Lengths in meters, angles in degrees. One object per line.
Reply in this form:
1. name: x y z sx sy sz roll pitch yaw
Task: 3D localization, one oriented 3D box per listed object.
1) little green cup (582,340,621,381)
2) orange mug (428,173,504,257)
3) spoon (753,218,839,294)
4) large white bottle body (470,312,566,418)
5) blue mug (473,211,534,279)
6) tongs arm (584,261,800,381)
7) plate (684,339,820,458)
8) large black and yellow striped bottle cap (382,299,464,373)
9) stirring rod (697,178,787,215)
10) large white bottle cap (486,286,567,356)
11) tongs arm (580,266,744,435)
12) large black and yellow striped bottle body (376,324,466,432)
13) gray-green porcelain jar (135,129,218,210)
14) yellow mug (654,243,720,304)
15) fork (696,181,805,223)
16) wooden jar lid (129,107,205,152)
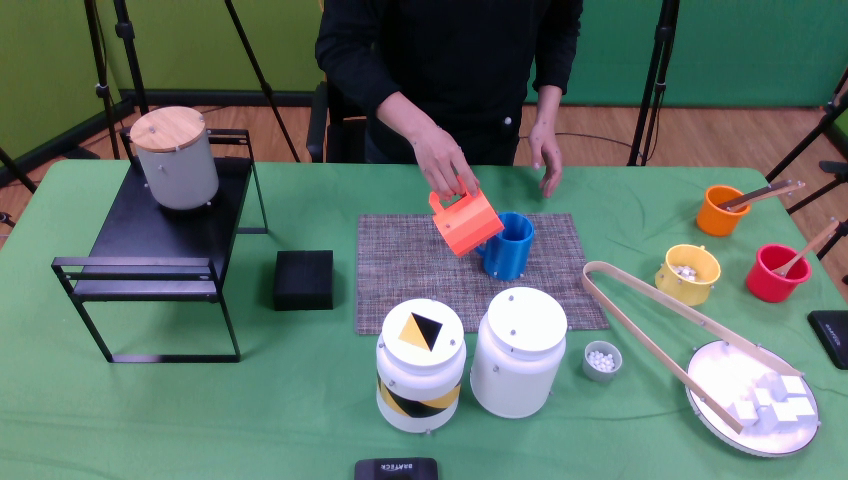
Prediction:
1. little green cup: 0.295 0.204 1.015 0.061 0.039 0.061 2 45 -2
2. orange mug: 0.067 -0.048 1.040 0.101 0.126 0.083 -28 12 7
3. spoon: 0.700 0.031 1.138 0.194 0.022 0.041 -47 54 14
4. large white bottle body: 0.143 0.173 0.930 0.131 0.185 0.130 2 46 -2
5. blue mug: 0.141 0.005 1.140 0.116 0.106 0.082 18 48 13
6. tongs arm: 0.452 0.137 1.064 0.051 0.027 0.382 -34 50 -27
7. plate: 0.523 0.256 0.982 0.208 0.039 0.206 2 46 -2
8. large black and yellow striped bottle cap: -0.002 0.132 0.843 0.115 0.019 0.114 2 46 -1
9. stirring rod: 0.650 -0.088 1.246 0.006 0.176 0.014 29 50 -39
10. large white bottle cap: 0.147 0.114 0.869 0.115 0.018 0.114 3 46 -3
11. tongs arm: 0.384 0.173 1.028 0.028 0.028 0.385 -25 46 -15
12. large black and yellow striped bottle body: -0.007 0.189 0.905 0.131 0.185 0.130 2 46 -2
13. gray-green porcelain jar: -0.388 -0.120 0.960 0.106 0.127 0.105 2 46 -2
14. yellow mug: 0.504 0.054 1.154 0.099 0.064 0.130 28 50 22
15. fork: 0.659 -0.077 1.232 0.207 0.019 0.028 -26 35 34
16. wooden jar lid: -0.385 -0.163 0.915 0.108 0.021 0.107 2 47 -2
